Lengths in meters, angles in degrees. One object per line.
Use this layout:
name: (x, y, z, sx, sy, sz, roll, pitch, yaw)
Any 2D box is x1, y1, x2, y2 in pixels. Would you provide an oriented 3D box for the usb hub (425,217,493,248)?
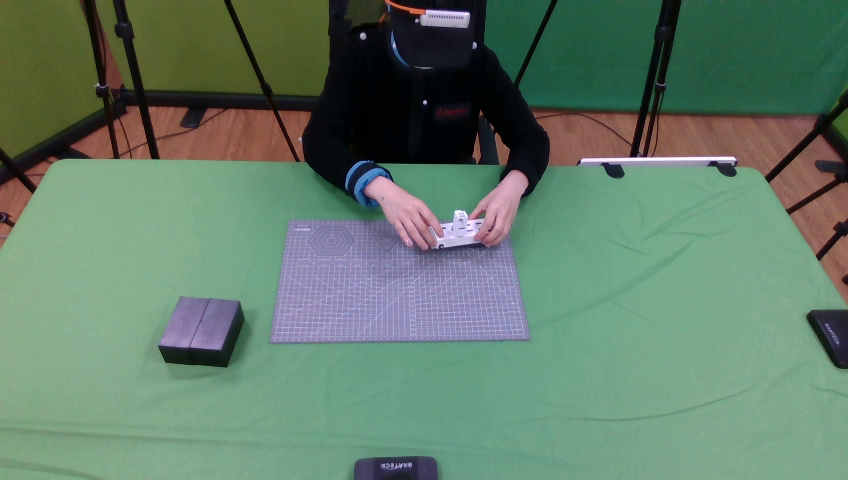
usb hub: (0.069, -0.014, 1.184, 0.125, 0.025, 0.049, -9, 40, -13)

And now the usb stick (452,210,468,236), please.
usb stick: (0.068, -0.027, 1.154, 0.021, 0.059, 0.027, -7, 41, -16)
